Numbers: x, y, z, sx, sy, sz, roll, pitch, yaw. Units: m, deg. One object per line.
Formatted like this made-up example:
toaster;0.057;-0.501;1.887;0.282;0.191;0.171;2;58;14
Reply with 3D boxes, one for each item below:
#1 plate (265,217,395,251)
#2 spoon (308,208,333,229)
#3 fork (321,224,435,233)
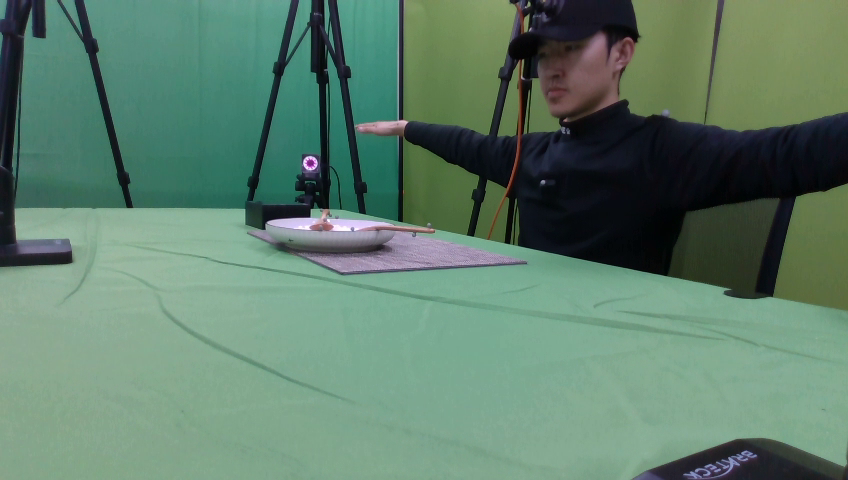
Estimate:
plate;-0.150;-0.011;0.978;0.209;0.038;0.209;2;7;0
spoon;-0.177;-0.041;1.072;0.042;0.021;0.193;-2;15;-5
fork;-0.076;-0.015;0.915;0.206;0.018;0.028;-3;3;27
